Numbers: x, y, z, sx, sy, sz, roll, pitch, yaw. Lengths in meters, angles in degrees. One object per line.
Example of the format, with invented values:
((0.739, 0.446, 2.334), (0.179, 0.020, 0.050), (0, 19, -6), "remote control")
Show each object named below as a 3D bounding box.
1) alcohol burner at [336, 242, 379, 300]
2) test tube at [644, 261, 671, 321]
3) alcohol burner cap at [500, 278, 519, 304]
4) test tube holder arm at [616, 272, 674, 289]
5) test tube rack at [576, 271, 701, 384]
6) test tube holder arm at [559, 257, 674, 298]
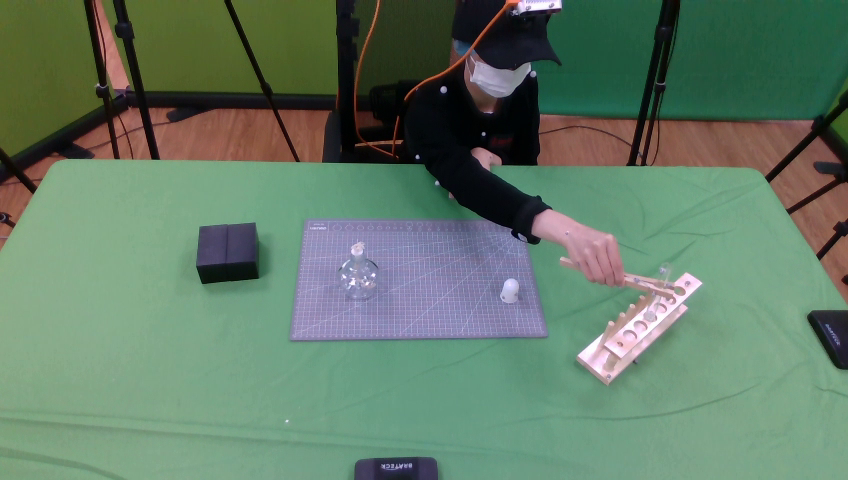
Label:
((-0.118, 0.050, 1.072), (0.078, 0.120, 0.077), (2, 44, -1), "alcohol burner")
((0.367, 0.088, 0.958), (0.017, 0.151, 0.017), (-3, 46, 3), "test tube")
((0.157, 0.090, 1.104), (0.034, 0.048, 0.033), (2, 46, -2), "alcohol burner cap")
((0.346, 0.065, 0.952), (0.088, 0.015, 0.010), (10, 45, 12), "test tube holder arm")
((0.373, 0.138, 1.047), (0.242, 0.085, 0.066), (-31, 56, -29), "test tube rack")
((0.302, 0.058, 0.961), (0.178, 0.015, 0.013), (16, 46, 18), "test tube holder arm")
